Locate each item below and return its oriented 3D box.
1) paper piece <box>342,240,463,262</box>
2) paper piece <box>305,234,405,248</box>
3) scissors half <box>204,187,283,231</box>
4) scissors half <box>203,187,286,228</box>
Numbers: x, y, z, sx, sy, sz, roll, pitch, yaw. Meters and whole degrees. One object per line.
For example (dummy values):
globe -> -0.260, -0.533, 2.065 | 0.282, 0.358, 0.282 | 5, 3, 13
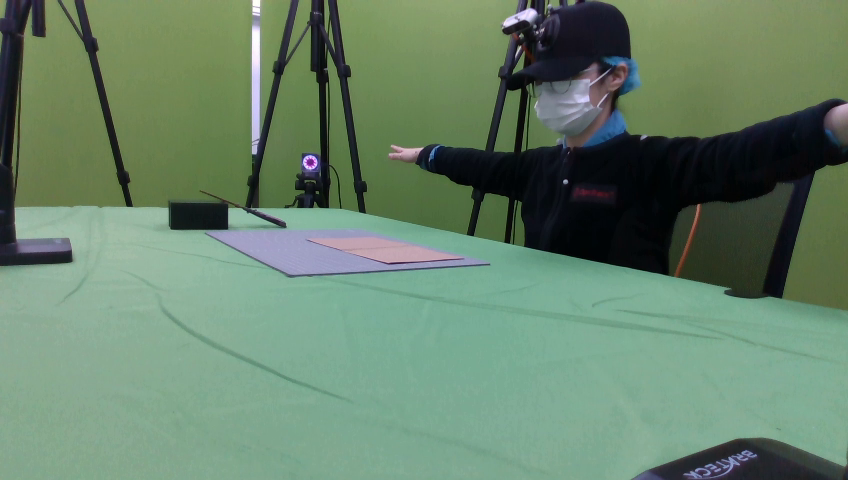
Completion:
paper piece -> -0.033, 0.017, 0.908 | 0.137, 0.008, 0.137 | -7, 12, -34
paper piece -> -0.110, 0.000, 1.015 | 0.136, 0.004, 0.135 | -4, 9, -35
scissors half -> -0.366, -0.062, 1.222 | 0.176, 0.013, 0.040 | 32, -26, -25
scissors half -> -0.356, -0.068, 1.205 | 0.175, 0.013, 0.040 | 24, -29, -10
